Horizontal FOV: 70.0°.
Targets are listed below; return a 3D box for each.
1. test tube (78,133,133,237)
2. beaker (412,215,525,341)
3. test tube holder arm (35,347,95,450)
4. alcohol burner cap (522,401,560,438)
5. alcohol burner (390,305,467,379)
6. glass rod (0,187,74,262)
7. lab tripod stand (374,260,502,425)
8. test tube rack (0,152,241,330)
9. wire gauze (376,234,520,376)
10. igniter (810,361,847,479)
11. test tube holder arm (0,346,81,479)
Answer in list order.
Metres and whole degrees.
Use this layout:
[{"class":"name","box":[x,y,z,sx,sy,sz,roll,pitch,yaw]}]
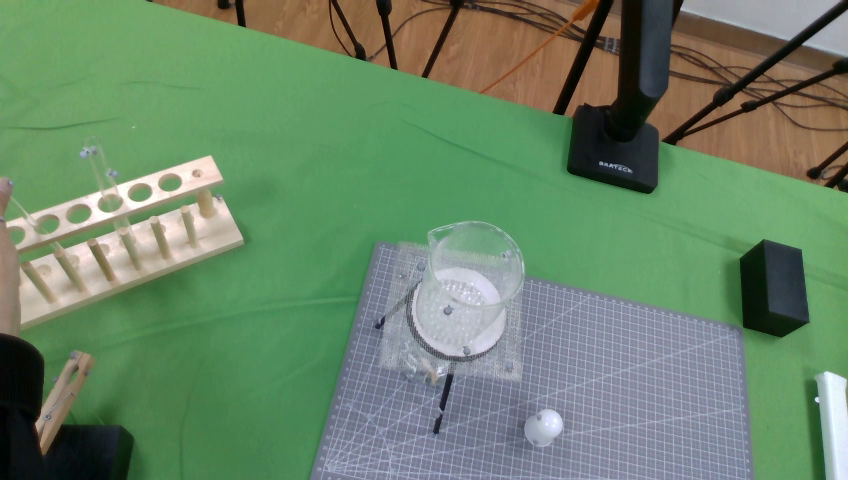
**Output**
[{"class":"test tube","box":[-0.304,-0.047,0.585,0.017,0.151,0.017,6,56,-8]},{"class":"beaker","box":[0.028,0.034,0.493,0.083,0.101,0.074,36,62,10]},{"class":"test tube holder arm","box":[-0.312,0.136,0.523,0.010,0.015,0.087,16,59,0]},{"class":"alcohol burner cap","box":[0.121,0.180,0.613,0.034,0.048,0.033,3,63,-5]},{"class":"alcohol burner","box":[0.008,0.095,0.599,0.078,0.120,0.077,5,60,-9]},{"class":"glass rod","box":[-0.363,-0.030,0.534,0.008,0.201,0.008,0,59,0]},{"class":"lab tripod stand","box":[0.019,0.093,0.590,0.149,0.132,0.147,5,61,-9]},{"class":"test tube rack","box":[-0.319,-0.001,0.614,0.243,0.086,0.066,-24,68,-21]},{"class":"wire gauze","box":[0.026,0.057,0.536,0.121,0.011,0.124,8,64,-4]},{"class":"igniter","box":[0.433,0.261,0.634,0.057,0.025,0.274,21,60,-10]},{"class":"test tube holder arm","box":[-0.328,0.171,0.499,0.013,0.015,0.177,15,59,0]}]
